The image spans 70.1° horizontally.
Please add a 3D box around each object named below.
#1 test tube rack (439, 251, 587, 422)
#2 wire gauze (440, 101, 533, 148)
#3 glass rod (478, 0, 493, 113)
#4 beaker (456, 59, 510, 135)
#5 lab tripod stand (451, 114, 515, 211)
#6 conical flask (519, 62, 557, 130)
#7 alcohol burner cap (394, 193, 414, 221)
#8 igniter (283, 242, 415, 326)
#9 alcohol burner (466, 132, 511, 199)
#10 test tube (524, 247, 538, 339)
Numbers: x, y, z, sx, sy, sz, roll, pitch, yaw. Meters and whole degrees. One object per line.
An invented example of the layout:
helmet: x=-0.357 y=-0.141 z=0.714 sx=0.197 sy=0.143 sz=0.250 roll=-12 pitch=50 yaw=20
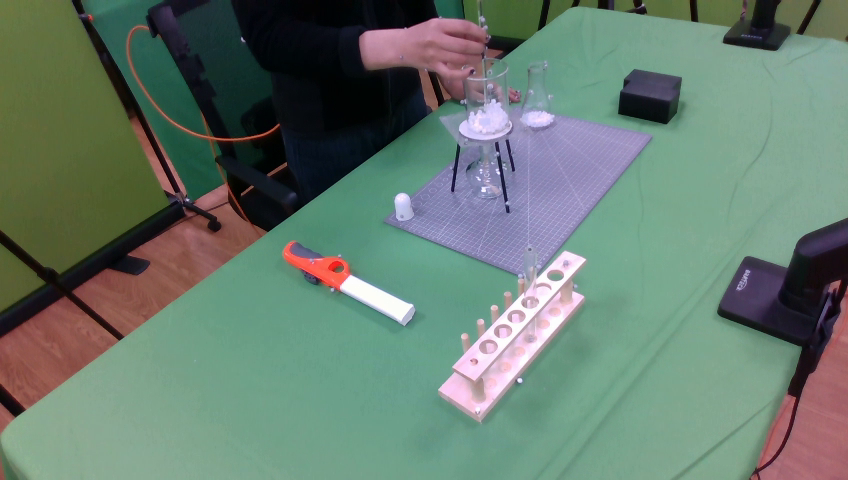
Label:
test tube rack: x=0.118 y=0.111 z=0.780 sx=0.066 sy=0.085 sz=0.243 roll=26 pitch=51 yaw=35
wire gauze: x=0.100 y=-0.189 z=0.995 sx=0.125 sy=0.011 sz=0.120 roll=-16 pitch=37 yaw=-6
glass rod: x=0.096 y=-0.276 z=0.932 sx=0.008 sy=0.201 sz=0.008 roll=-6 pitch=48 yaw=7
beaker: x=0.098 y=-0.226 z=0.964 sx=0.084 sy=0.101 sz=0.073 roll=-7 pitch=39 yaw=4
lab tripod stand: x=0.113 y=-0.140 z=1.037 sx=0.148 sy=0.132 sz=0.147 roll=-6 pitch=38 yaw=5
conical flask: x=0.225 y=-0.287 z=1.199 sx=0.075 sy=0.122 sz=0.075 roll=-6 pitch=40 yaw=5
alcohol burner cap: x=-0.036 y=-0.059 z=1.040 sx=0.034 sy=0.048 sz=0.033 roll=-5 pitch=41 yaw=5
igniter: x=-0.126 y=0.062 z=0.931 sx=0.274 sy=0.025 sz=0.057 roll=24 pitch=61 yaw=33
alcohol burner: x=0.110 y=-0.132 z=1.044 sx=0.078 sy=0.119 sz=0.077 roll=-5 pitch=38 yaw=5
test tube: x=0.133 y=0.070 z=0.749 sx=0.017 sy=0.151 sz=0.017 roll=-5 pitch=38 yaw=4
